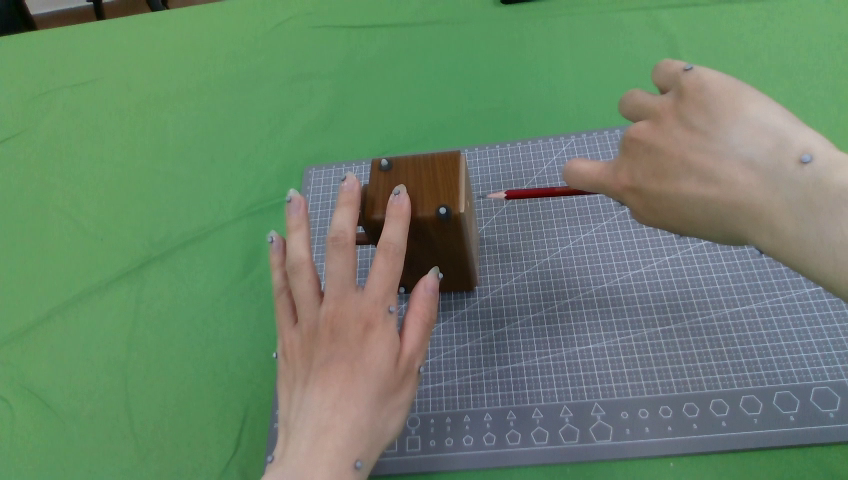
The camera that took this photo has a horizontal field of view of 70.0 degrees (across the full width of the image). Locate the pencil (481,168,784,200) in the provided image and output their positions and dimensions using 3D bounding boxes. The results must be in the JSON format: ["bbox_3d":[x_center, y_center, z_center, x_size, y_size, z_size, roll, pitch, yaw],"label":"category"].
[{"bbox_3d":[0.135,-0.036,0.407,0.193,0.012,0.012,-3,55,12],"label":"pencil"}]

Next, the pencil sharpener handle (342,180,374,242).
[{"bbox_3d":[-0.054,-0.018,0.462,0.030,0.068,0.035,-3,59,9],"label":"pencil sharpener handle"}]

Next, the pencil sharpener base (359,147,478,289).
[{"bbox_3d":[-0.001,-0.013,0.463,0.076,0.108,0.061,-3,55,9],"label":"pencil sharpener base"}]
